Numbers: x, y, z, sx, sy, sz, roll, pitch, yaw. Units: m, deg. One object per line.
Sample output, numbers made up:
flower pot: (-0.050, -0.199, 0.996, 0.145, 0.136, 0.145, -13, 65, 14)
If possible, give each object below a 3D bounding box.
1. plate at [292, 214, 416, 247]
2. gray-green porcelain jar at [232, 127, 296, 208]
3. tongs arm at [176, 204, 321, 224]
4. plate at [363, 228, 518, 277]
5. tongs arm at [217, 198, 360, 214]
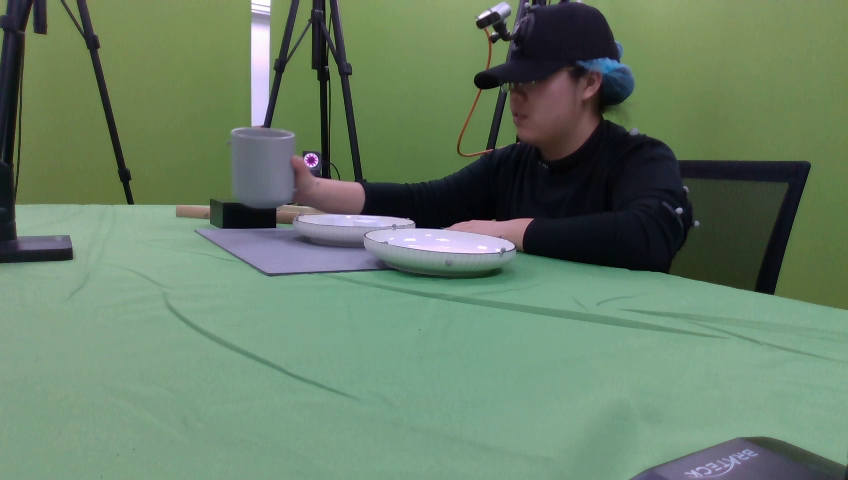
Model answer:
plate: (-0.118, -0.017, 1.024, 0.208, 0.039, 0.207, 2, 7, 0)
gray-green porcelain jar: (-0.278, -0.126, 1.053, 0.106, 0.126, 0.106, 5, 18, -1)
tongs arm: (-0.333, -0.052, 1.273, 0.387, 0.028, 0.028, 4, 5, 4)
plate: (0.021, 0.016, 0.817, 0.209, 0.038, 0.209, 4, 9, 0)
tongs arm: (-0.313, -0.064, 1.352, 0.384, 0.026, 0.051, 6, 8, 17)
